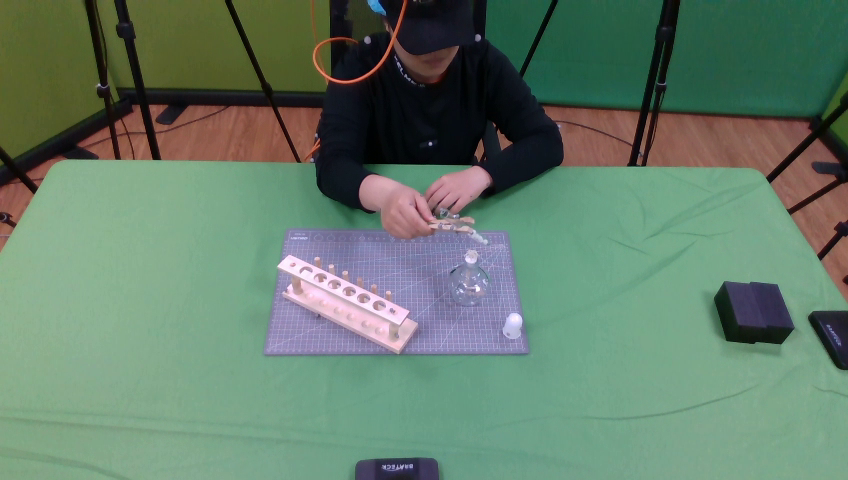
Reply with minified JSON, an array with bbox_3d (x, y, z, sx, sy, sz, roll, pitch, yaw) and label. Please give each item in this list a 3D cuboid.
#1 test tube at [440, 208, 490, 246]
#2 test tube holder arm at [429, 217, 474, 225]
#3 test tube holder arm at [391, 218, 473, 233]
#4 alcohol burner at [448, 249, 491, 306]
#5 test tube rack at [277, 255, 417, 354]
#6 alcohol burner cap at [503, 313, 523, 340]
[{"bbox_3d":[0.069,-0.018,0.983,0.017,0.151,0.017,-12,65,29],"label":"test tube"},{"bbox_3d":[0.043,-0.029,0.984,0.087,0.015,0.010,-4,69,41],"label":"test tube holder arm"},{"bbox_3d":[0.009,-0.025,1.013,0.178,0.015,0.013,6,75,43],"label":"test tube holder arm"},{"bbox_3d":[0.081,0.062,1.078,0.078,0.120,0.077,1,45,-1],"label":"alcohol burner"},{"bbox_3d":[-0.131,0.099,1.045,0.241,0.085,0.066,23,49,17],"label":"test tube rack"},{"bbox_3d":[0.156,0.148,1.051,0.034,0.048,0.033,1,45,-1],"label":"alcohol burner cap"}]
